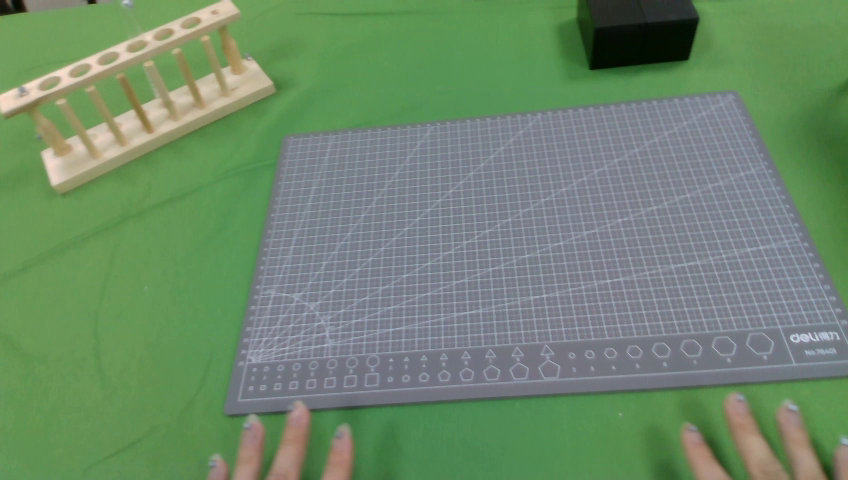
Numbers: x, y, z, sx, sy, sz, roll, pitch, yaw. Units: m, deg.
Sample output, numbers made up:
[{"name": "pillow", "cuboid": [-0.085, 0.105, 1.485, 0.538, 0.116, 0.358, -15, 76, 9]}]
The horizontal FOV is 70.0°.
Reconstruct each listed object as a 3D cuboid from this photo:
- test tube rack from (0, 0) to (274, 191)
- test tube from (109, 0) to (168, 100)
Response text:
[{"name": "test tube rack", "cuboid": [-0.289, -0.153, 0.624, 0.242, 0.086, 0.066, -30, 54, -15]}, {"name": "test tube", "cuboid": [-0.288, -0.204, 0.599, 0.017, 0.151, 0.017, -2, 48, 3]}]
